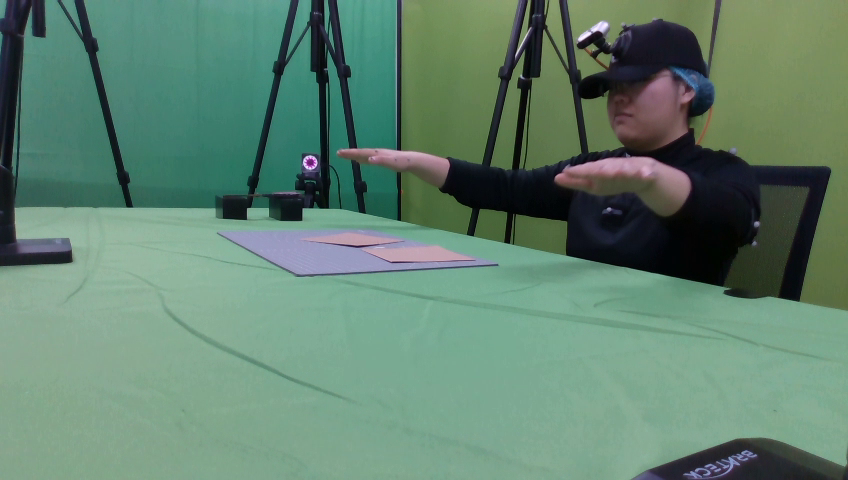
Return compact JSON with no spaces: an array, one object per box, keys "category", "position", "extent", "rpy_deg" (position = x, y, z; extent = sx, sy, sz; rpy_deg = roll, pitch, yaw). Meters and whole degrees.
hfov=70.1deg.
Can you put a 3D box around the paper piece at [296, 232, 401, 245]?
[{"category":"paper piece","position":[-0.127,-0.003,1.052],"extent":[0.135,0.004,0.136],"rpy_deg":[6,8,32]}]

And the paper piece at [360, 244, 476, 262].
[{"category":"paper piece","position":[-0.012,0.020,0.914],"extent":[0.136,0.008,0.137],"rpy_deg":[-4,9,-24]}]

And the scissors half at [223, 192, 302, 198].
[{"category":"scissors half","position":[-0.362,-0.100,1.364],"extent":[0.176,0.013,0.040],"rpy_deg":[-2,11,-23]}]

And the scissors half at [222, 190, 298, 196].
[{"category":"scissors half","position":[-0.372,-0.105,1.380],"extent":[0.176,0.013,0.040],"rpy_deg":[-6,18,-38]}]
